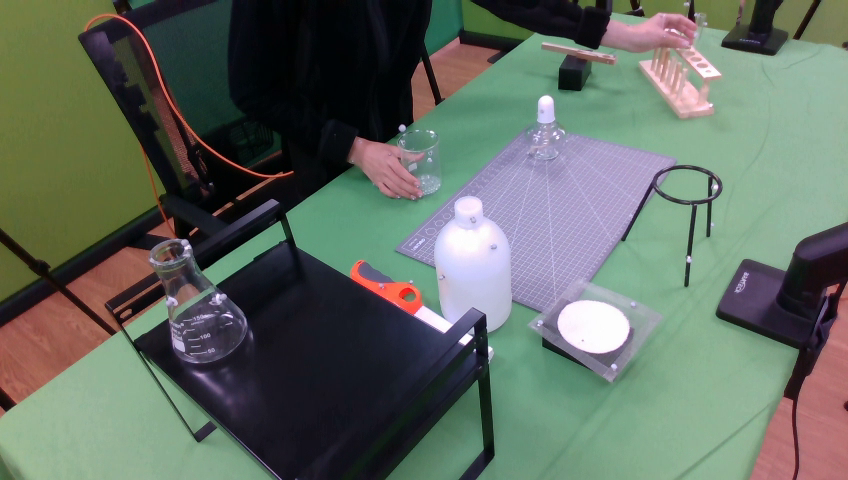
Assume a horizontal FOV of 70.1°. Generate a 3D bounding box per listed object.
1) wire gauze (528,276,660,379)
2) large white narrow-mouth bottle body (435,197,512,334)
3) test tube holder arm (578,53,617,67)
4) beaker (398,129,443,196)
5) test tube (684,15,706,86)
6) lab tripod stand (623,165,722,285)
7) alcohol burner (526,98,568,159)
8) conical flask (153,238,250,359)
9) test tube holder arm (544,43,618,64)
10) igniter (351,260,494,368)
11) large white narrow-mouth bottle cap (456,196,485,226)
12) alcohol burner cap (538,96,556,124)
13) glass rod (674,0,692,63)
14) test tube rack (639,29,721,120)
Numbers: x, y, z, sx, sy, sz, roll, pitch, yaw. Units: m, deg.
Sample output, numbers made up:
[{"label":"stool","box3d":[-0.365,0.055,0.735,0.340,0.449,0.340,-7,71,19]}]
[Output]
[{"label":"wire gauze","box3d":[0.214,0.103,0.763,0.124,0.011,0.122,30,53,35]},{"label":"large white narrow-mouth bottle body","box3d":[0.066,0.028,0.805,0.102,0.195,0.101,-4,40,4]},{"label":"test tube holder arm","box3d":[0.376,-0.394,1.314,0.087,0.015,0.010,27,49,33]},{"label":"beaker","box3d":[-0.001,-0.139,1.087,0.073,0.100,0.084,29,51,34]},{"label":"test tube","box3d":[0.541,-0.378,1.215,0.017,0.151,0.017,-2,44,3]},{"label":"lab tripod stand","box3d":[0.365,-0.030,0.875,0.148,0.132,0.147,-6,41,6]},{"label":"alcohol burner","box3d":[0.228,-0.210,1.118,0.078,0.119,0.077,-5,43,5]},{"label":"conical flask","box3d":[-0.225,0.055,0.597,0.075,0.122,0.075,-5,41,4]},{"label":"test tube holder arm","box3d":[0.345,-0.414,1.341,0.177,0.015,0.013,26,48,32]},{"label":"igniter","box3d":[-0.013,0.098,0.864,0.274,0.025,0.057,30,66,36]},{"label":"large white narrow-mouth bottle cap","box3d":[0.058,-0.036,0.749,0.038,0.024,0.037,-4,40,4]},{"label":"alcohol burner cap","box3d":[0.222,-0.237,1.095,0.034,0.048,0.033,-6,35,5]},{"label":"glass rod","box3d":[0.537,-0.436,1.257,0.008,0.200,0.008,0,38,1]},{"label":"test tube rack","box3d":[0.527,-0.351,1.262,0.067,0.085,0.241,-8,40,1]}]
